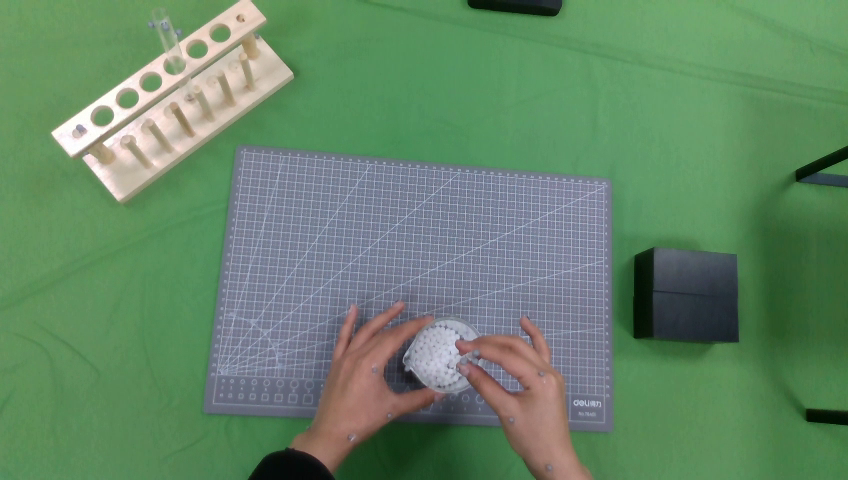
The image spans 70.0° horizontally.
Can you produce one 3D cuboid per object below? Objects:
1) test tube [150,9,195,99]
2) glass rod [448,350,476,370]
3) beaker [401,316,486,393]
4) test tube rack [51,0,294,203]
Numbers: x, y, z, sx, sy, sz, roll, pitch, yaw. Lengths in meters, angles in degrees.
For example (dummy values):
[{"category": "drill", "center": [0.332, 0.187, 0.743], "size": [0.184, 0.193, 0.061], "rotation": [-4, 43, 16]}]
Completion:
[{"category": "test tube", "center": [-0.254, -0.185, 0.620], "size": [0.017, 0.150, 0.017], "rotation": [3, 74, -10]}, {"category": "glass rod", "center": [0.034, 0.117, 0.581], "size": [0.008, 0.200, 0.008], "rotation": [1, 75, -3]}, {"category": "beaker", "center": [0.015, 0.121, 0.633], "size": [0.084, 0.100, 0.073], "rotation": [-7, 79, -8]}, {"category": "test tube rack", "center": [-0.263, -0.149, 0.662], "size": [0.242, 0.085, 0.066], "rotation": [-40, 84, -12]}]
